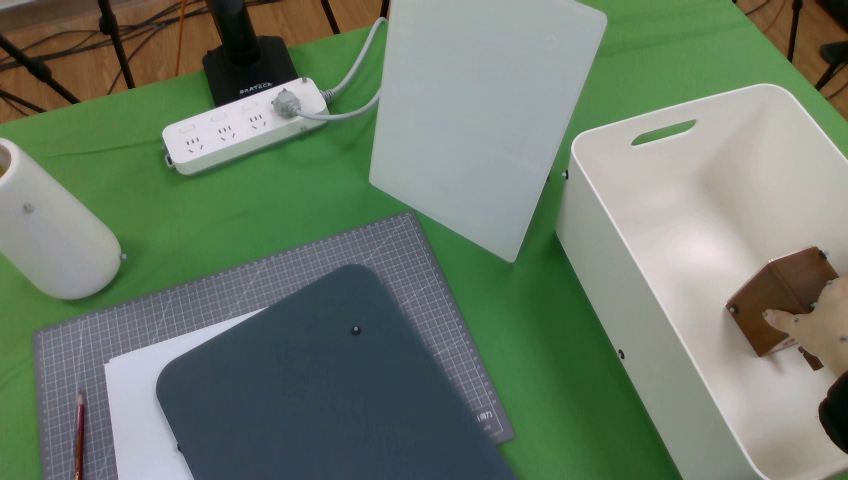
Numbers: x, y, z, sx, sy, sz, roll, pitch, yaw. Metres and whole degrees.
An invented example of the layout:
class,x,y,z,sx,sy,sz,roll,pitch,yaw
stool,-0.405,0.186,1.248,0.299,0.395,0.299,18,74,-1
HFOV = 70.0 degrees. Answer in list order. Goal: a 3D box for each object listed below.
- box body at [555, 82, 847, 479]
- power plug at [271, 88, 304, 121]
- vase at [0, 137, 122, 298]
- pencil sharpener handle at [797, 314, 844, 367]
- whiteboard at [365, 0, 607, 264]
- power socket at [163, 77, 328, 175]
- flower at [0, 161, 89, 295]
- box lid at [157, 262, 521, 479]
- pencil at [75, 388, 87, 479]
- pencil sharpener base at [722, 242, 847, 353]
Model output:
class,x,y,z,sx,sy,sz,roll,pitch,yaw
box body,0.316,0.045,0.611,0.254,0.161,0.360,-16,61,-9
power plug,-0.176,-0.164,0.783,0.035,0.053,0.072,-15,62,-8
vase,-0.401,-0.018,0.629,0.098,0.201,0.097,-1,60,2
pencil sharpener handle,0.391,0.099,0.590,0.036,0.068,0.030,-18,62,-7
whiteboard,0.077,-0.165,0.687,0.216,0.307,0.143,31,45,18
power socket,-0.234,-0.154,0.804,0.227,0.033,0.071,-24,63,-14
flower,-0.402,-0.076,0.568,0.038,0.365,0.043,-30,45,-24
box lid,-0.082,0.208,0.604,0.263,0.015,0.368,-30,65,-17
pencil,-0.336,0.234,0.590,0.012,0.012,0.192,-13,59,-7
pencil sharpener base,0.373,0.064,0.624,0.061,0.108,0.076,-16,62,-11
